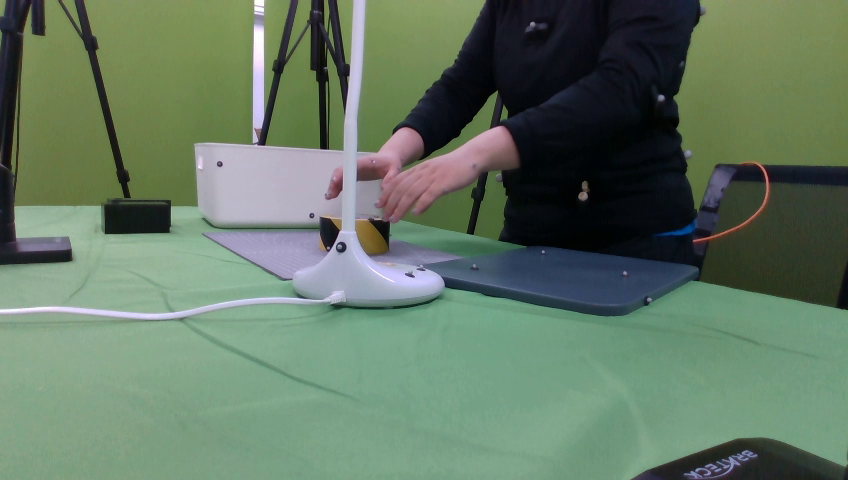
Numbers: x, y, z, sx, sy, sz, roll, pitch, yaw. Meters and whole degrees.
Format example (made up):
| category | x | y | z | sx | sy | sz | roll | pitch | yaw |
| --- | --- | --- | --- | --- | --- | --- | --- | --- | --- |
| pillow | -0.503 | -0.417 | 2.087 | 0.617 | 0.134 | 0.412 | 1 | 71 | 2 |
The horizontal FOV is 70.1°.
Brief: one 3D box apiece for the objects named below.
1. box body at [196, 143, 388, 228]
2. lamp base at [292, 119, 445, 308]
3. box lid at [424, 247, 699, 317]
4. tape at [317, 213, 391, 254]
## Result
| category | x | y | z | sx | sy | sz | roll | pitch | yaw |
| --- | --- | --- | --- | --- | --- | --- | --- | --- | --- |
| box body | -0.286 | -0.118 | 1.291 | 0.366 | 0.160 | 0.253 | -1 | 8 | -27 |
| lamp base | -0.056 | -0.030 | 0.616 | 0.160 | 0.180 | 0.179 | 4 | 10 | 8 |
| box lid | 0.184 | 0.044 | 0.789 | 0.262 | 0.015 | 0.373 | 8 | 9 | 35 |
| tape | -0.109 | -0.012 | 0.938 | 0.117 | 0.052 | 0.117 | 2 | 6 | 0 |
